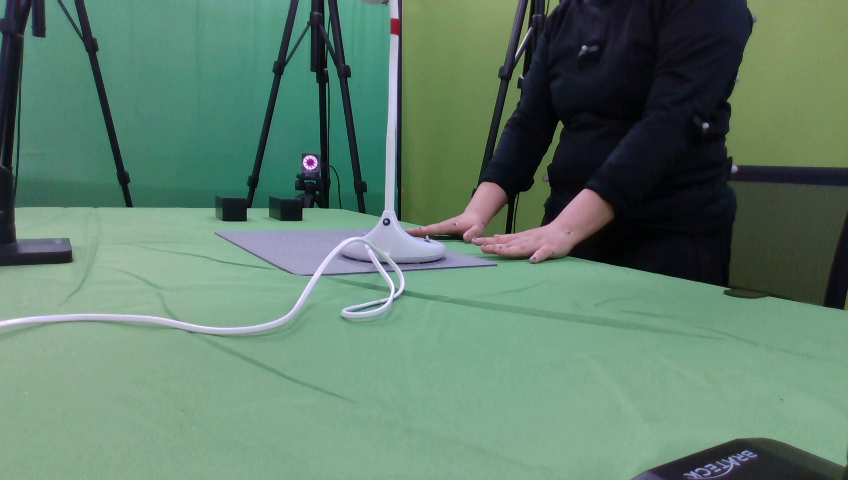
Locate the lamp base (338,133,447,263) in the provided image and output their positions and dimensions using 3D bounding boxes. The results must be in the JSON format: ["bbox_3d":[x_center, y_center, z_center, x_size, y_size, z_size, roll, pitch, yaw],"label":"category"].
[{"bbox_3d":[-0.043,-0.062,0.868,0.161,0.180,0.179,2,10,-3],"label":"lamp base"}]

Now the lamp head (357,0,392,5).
[{"bbox_3d":[-0.056,-0.383,0.819,0.113,0.112,0.122,0,13,-22],"label":"lamp head"}]
